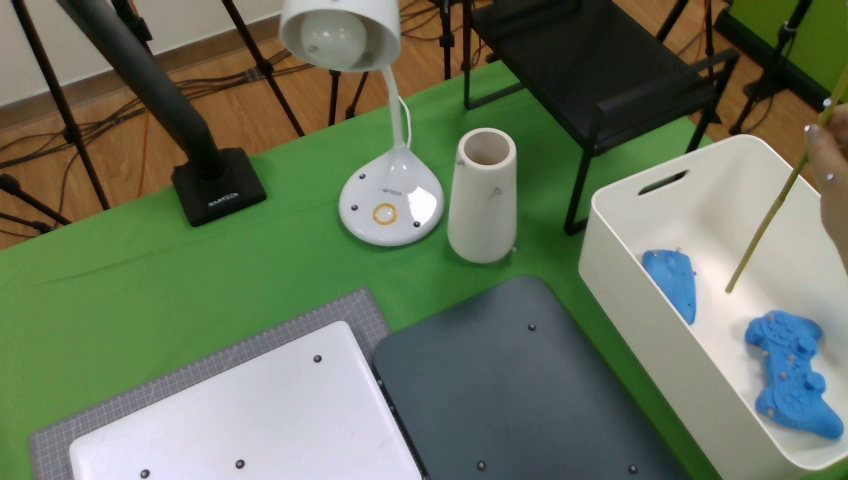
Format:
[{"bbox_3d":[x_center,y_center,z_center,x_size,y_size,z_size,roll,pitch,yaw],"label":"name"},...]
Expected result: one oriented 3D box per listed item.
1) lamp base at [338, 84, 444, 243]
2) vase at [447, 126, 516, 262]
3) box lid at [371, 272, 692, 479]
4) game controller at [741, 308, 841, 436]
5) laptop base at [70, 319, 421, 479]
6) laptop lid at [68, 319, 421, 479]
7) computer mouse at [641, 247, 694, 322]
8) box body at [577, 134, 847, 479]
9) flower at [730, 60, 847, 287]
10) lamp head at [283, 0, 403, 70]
[{"bbox_3d":[-0.050,-0.116,0.857,0.160,0.182,0.177,5,53,5],"label":"lamp base"},{"bbox_3d":[0.078,-0.057,0.802,0.098,0.202,0.097,-2,55,3],"label":"vase"},{"bbox_3d":[0.120,0.217,0.728,0.263,0.015,0.367,-24,59,-15],"label":"box lid"},{"bbox_3d":[0.448,0.152,0.737,0.097,0.052,0.154,6,55,8],"label":"game controller"},{"bbox_3d":[-0.209,0.257,0.704,0.355,0.023,0.233,-23,62,-14],"label":"laptop base"},{"bbox_3d":[-0.208,0.252,0.693,0.357,0.013,0.239,-22,60,-13],"label":"laptop lid"},{"bbox_3d":[0.324,0.056,0.810,0.062,0.041,0.116,7,52,10],"label":"computer mouse"},{"bbox_3d":[0.382,0.078,0.726,0.254,0.162,0.360,-21,58,-12],"label":"box body"},{"bbox_3d":[0.299,-0.062,0.483,0.044,0.365,0.038,-26,53,-11],"label":"flower"},{"bbox_3d":[-0.072,-0.237,0.577,0.112,0.113,0.122,2,74,3],"label":"lamp head"}]
